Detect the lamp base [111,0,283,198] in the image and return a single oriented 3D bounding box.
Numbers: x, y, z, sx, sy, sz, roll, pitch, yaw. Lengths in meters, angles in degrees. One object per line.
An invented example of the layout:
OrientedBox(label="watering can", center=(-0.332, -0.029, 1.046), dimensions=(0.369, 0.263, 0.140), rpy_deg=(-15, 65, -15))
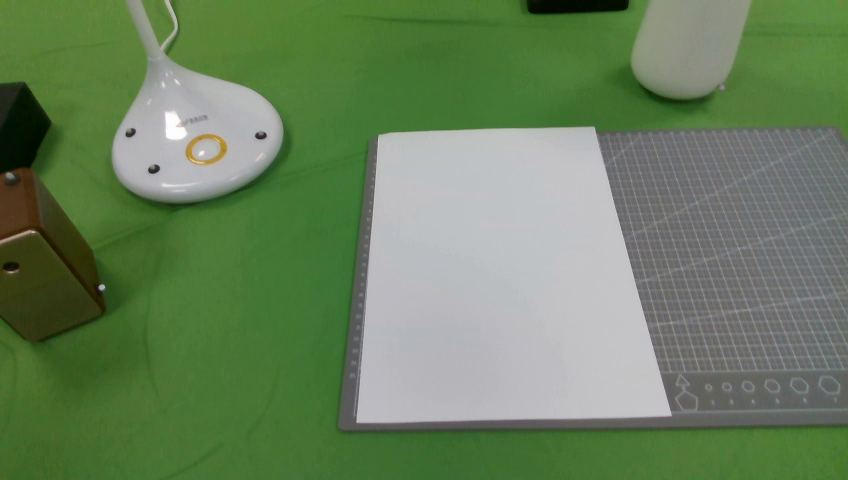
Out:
OrientedBox(label="lamp base", center=(-0.228, -0.156, 0.531), dimensions=(0.160, 0.182, 0.177), rpy_deg=(-33, 54, -22))

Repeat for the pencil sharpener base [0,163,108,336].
OrientedBox(label="pencil sharpener base", center=(-0.292, 0.008, 0.449), dimensions=(0.061, 0.108, 0.076), rpy_deg=(-24, 53, -15))

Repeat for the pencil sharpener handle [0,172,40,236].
OrientedBox(label="pencil sharpener handle", center=(-0.318, -0.033, 0.468), dimensions=(0.036, 0.068, 0.030), rpy_deg=(-20, 52, -20))

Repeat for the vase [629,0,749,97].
OrientedBox(label="vase", center=(0.255, -0.234, 0.561), dimensions=(0.098, 0.202, 0.097), rpy_deg=(-2, 50, 3))
